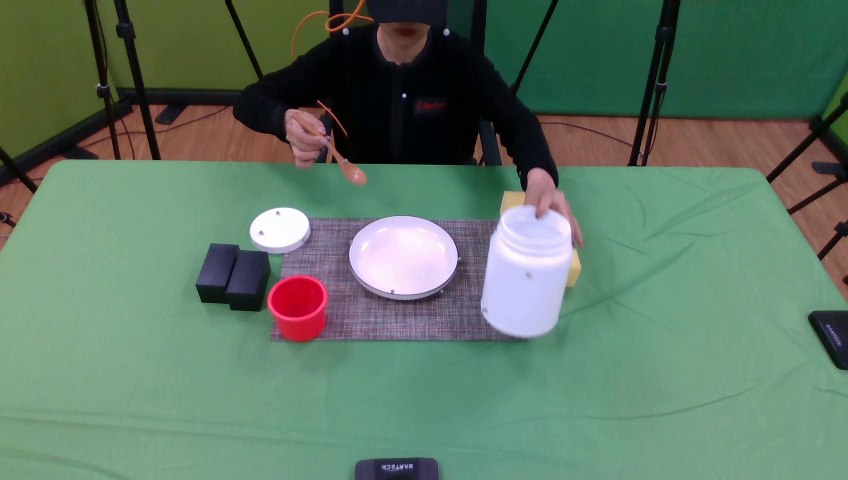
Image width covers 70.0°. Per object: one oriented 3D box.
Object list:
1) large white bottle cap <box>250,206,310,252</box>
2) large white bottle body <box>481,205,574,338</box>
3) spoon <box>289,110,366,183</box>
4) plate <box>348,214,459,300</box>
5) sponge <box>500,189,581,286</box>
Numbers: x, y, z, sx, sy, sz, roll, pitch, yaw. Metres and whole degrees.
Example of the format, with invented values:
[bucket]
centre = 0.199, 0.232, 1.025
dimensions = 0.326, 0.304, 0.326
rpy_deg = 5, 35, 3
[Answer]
[large white bottle cap]
centre = -0.284, -0.023, 1.198
dimensions = 0.115, 0.018, 0.114
rpy_deg = 1, 46, 0
[large white bottle body]
centre = 0.166, 0.049, 0.972
dimensions = 0.131, 0.185, 0.130
rpy_deg = 3, 33, -2
[spoon]
centre = -0.174, -0.170, 1.106
dimensions = 0.021, 0.195, 0.041
rpy_deg = -17, 43, 31
[plate]
centre = -0.040, 0.034, 1.146
dimensions = 0.209, 0.038, 0.208
rpy_deg = 2, 46, -2
[sponge]
centre = 0.224, -0.007, 1.192
dimensions = 0.118, 0.061, 0.205
rpy_deg = 1, 47, -6
